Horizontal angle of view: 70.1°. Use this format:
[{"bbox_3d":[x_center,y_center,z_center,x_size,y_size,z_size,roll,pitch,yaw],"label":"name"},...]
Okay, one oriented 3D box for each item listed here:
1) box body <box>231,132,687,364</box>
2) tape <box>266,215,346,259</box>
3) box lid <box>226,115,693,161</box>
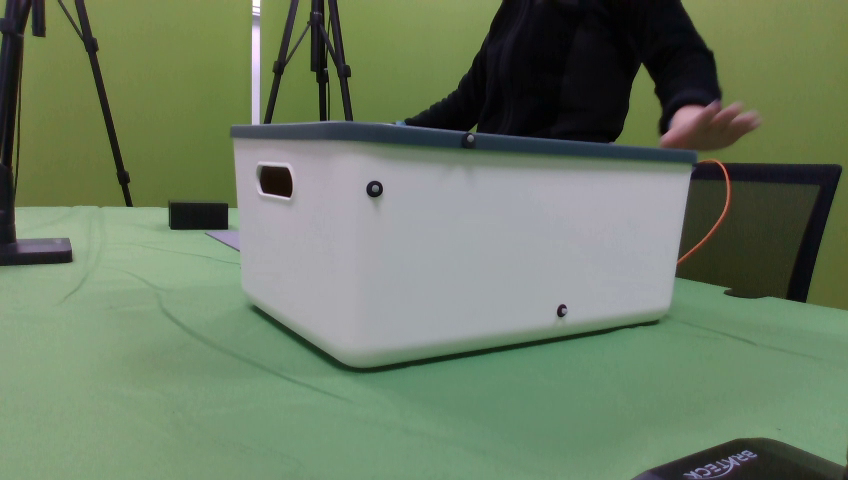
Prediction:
[{"bbox_3d":[0.031,-0.013,0.563,0.366,0.160,0.253,-3,8,-33],"label":"box body"},{"bbox_3d":[-0.168,-0.006,0.872,0.117,0.052,0.117,3,7,0],"label":"tape"},{"bbox_3d":[0.031,-0.086,0.554,0.373,0.015,0.262,-2,8,-33],"label":"box lid"}]
